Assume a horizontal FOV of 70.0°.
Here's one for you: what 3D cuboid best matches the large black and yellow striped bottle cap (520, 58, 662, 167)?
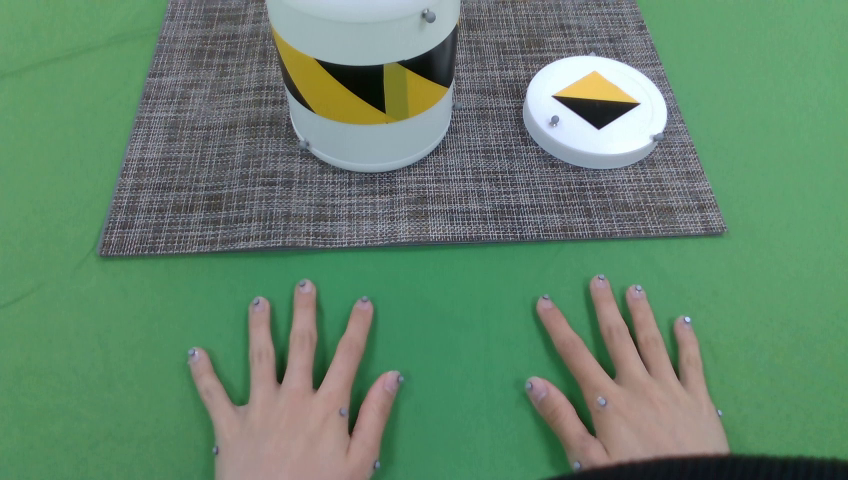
[{"bbox_3d":[0.137,-0.108,0.500,0.115,0.019,0.114,2,55,-2],"label":"large black and yellow striped bottle cap"}]

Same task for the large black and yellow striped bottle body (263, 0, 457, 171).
[{"bbox_3d":[-0.042,-0.153,0.422,0.131,0.185,0.129,1,56,-1],"label":"large black and yellow striped bottle body"}]
